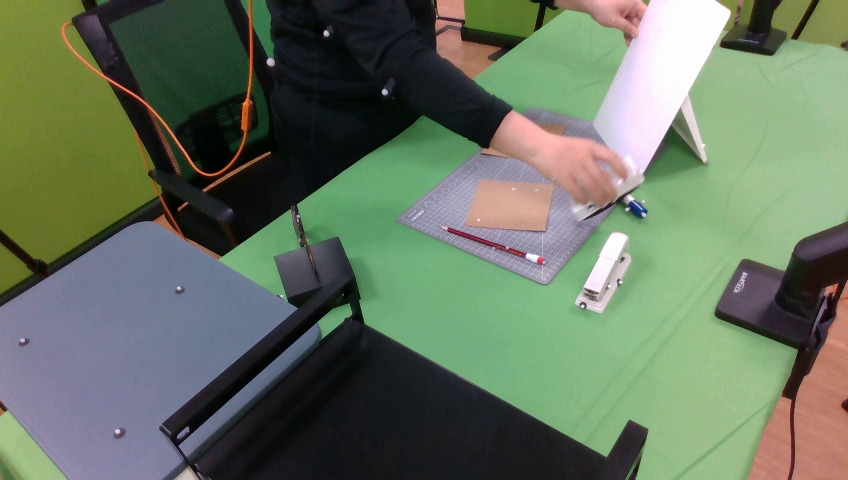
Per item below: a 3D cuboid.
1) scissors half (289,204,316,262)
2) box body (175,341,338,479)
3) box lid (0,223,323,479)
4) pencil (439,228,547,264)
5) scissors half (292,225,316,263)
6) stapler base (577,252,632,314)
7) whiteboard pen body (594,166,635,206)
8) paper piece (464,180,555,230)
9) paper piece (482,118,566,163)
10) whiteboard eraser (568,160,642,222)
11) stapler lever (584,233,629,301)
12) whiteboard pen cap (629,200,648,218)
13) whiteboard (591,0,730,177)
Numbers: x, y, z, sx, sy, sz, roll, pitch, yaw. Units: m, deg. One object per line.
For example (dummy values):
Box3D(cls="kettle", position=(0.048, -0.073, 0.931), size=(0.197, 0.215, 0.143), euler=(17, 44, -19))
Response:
Box3D(cls="scissors half", position=(-0.189, -0.011, 0.944), size=(0.013, 0.040, 0.173), euler=(-15, 37, -17))
Box3D(cls="box body", position=(-0.311, 0.165, 0.719), size=(0.361, 0.161, 0.255), euler=(23, 49, 32))
Box3D(cls="box lid", position=(-0.318, 0.109, 0.671), size=(0.368, 0.015, 0.264), euler=(24, 49, 31))
Box3D(cls="pencil", position=(0.105, 0.007, 0.957), size=(0.192, 0.012, 0.012), euler=(18, 46, 30))
Box3D(cls="scissors half", position=(-0.187, 0.007, 0.954), size=(0.013, 0.040, 0.174), euler=(-19, 21, -14))
Box3D(cls="stapler base", position=(0.264, 0.051, 0.874), size=(0.041, 0.024, 0.131), euler=(16, 47, 29))
Box3D(cls="whiteboard pen body", position=(0.331, -0.085, 1.027), size=(0.017, 0.017, 0.139), euler=(-17, 43, -11))
Box3D(cls="paper piece", position=(0.149, -0.061, 1.034), size=(0.137, 0.009, 0.136), euler=(5, 38, 16))
Box3D(cls="paper piece", position=(0.198, -0.199, 1.188), size=(0.135, 0.004, 0.135), euler=(13, 45, 19))
Box3D(cls="whiteboard eraser", position=(0.280, -0.073, 0.937), size=(0.112, 0.042, 0.055), euler=(-34, 28, 27))
Box3D(cls="stapler lever", position=(0.260, 0.034, 0.858), size=(0.026, 0.040, 0.118), euler=(16, 46, 29))
Box3D(cls="whiteboard pen cap", position=(0.347, -0.052, 0.983), size=(0.018, 0.018, 0.033), euler=(-18, 43, -12))
Box3D(cls="whiteboard", position=(0.451, -0.269, 1.054), size=(0.144, 0.305, 0.216), euler=(7, 37, -14))
